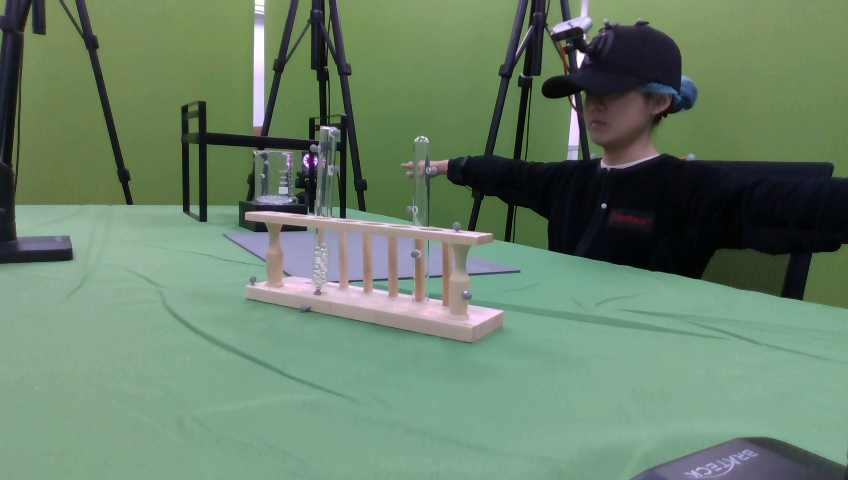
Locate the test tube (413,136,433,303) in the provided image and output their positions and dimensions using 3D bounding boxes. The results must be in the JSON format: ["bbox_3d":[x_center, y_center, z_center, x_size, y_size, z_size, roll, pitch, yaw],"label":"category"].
[{"bbox_3d":[-0.002,-0.016,0.538,0.017,0.150,0.017,1,8,0],"label":"test tube"}]

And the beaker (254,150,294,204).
[{"bbox_3d":[-0.289,-0.120,1.151,0.073,0.100,0.084,8,9,33],"label":"beaker"}]

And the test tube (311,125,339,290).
[{"bbox_3d":[-0.090,-0.028,0.545,0.017,0.150,0.017,6,11,-1],"label":"test tube"}]

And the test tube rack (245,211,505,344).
[{"bbox_3d":[-0.049,0.025,0.547,0.241,0.085,0.067,7,8,29],"label":"test tube rack"}]
